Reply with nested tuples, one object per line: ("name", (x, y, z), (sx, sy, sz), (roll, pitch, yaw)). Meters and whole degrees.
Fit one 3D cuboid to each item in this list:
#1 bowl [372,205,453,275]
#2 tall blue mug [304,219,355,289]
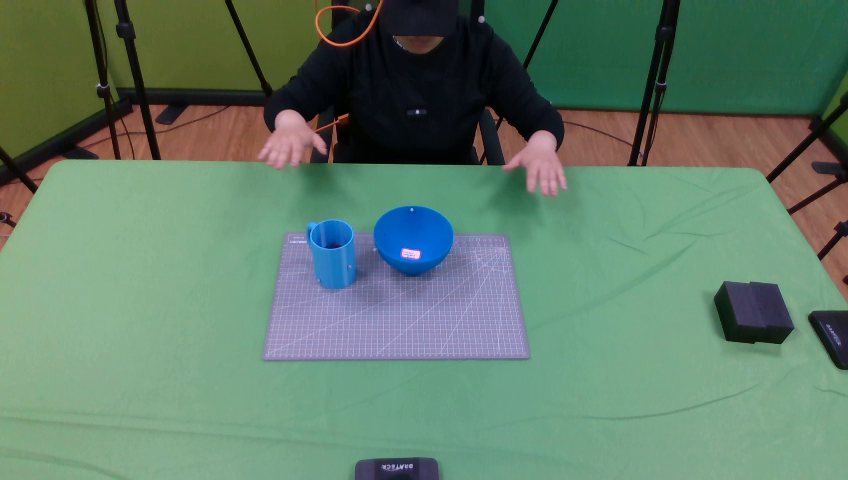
("bowl", (-0.022, 0.013, 1.142), (0.151, 0.077, 0.150), (2, 46, -2))
("tall blue mug", (-0.180, 0.022, 1.099), (0.107, 0.108, 0.077), (15, 48, 10))
